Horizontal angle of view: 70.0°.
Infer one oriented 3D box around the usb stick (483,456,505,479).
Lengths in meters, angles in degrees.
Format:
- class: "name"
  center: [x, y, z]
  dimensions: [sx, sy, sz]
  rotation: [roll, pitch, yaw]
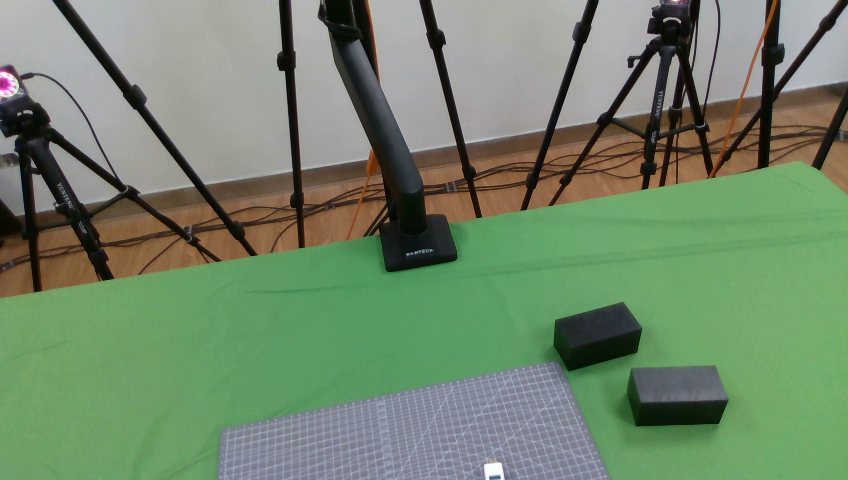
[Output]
- class: "usb stick"
  center: [0.080, 0.269, 0.687]
  dimensions: [0.021, 0.027, 0.058]
  rotation: [-8, 38, 2]
